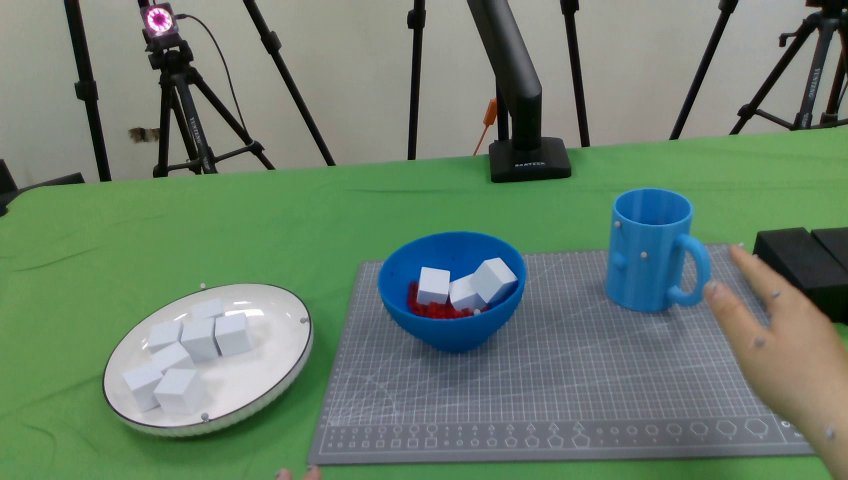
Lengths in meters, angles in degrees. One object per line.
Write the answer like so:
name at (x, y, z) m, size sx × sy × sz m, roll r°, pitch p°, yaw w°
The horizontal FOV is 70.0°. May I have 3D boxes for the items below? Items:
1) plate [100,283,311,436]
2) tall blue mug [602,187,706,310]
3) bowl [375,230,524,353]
plate at (-0.218, 0.121, 0.626) m, size 0.209 × 0.038 × 0.207 m, roll -4°, pitch 34°, yaw 3°
tall blue mug at (0.244, 0.013, 0.632) m, size 0.106 × 0.109 × 0.077 m, roll 16°, pitch 39°, yaw 30°
bowl at (0.029, 0.063, 0.627) m, size 0.151 × 0.077 × 0.150 m, roll -5°, pitch 34°, yaw 4°
